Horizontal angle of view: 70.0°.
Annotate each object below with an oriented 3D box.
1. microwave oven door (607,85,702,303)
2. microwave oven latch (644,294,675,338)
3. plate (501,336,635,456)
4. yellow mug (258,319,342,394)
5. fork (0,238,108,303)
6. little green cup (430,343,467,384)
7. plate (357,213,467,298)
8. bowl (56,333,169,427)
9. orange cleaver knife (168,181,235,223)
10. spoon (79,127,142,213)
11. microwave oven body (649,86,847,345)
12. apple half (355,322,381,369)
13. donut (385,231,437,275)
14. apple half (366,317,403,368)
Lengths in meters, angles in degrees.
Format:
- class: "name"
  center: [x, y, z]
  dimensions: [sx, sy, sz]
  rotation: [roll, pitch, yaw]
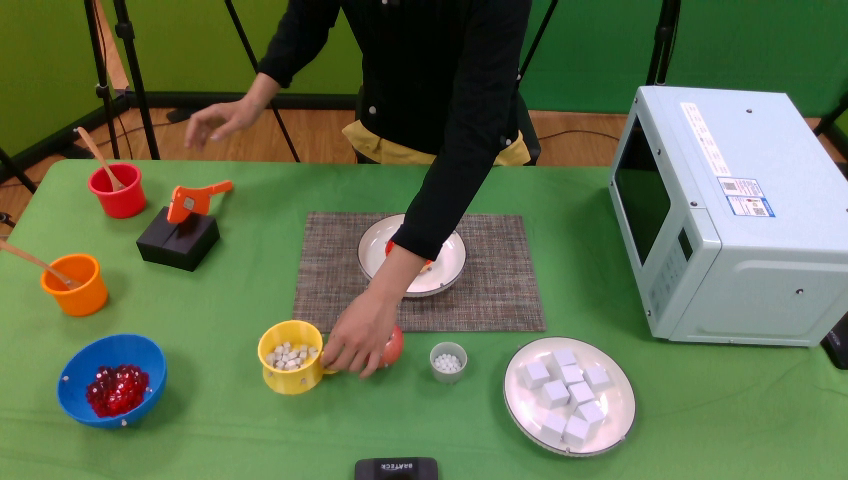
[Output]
- class: "microwave oven door"
  center: [0.423, -0.094, 1.140]
  dimensions: [0.039, 0.245, 0.353]
  rotation: [2, 46, -1]
- class: "microwave oven latch"
  center: [0.411, 0.133, 1.062]
  dimensions: [0.030, 0.029, 0.078]
  rotation: [1, 45, -2]
- class: "plate"
  center: [0.225, 0.248, 0.963]
  dimensions: [0.208, 0.039, 0.206]
  rotation: [2, 46, -2]
- class: "yellow mug"
  center: [-0.195, 0.189, 0.971]
  dimensions: [0.131, 0.064, 0.099]
  rotation: [9, 46, 4]
- class: "fork"
  center: [-0.633, 0.048, 1.017]
  dimensions: [0.208, 0.018, 0.028]
  rotation: [40, 43, -27]
- class: "little green cup"
  center: [0.039, 0.203, 0.993]
  dimensions: [0.061, 0.039, 0.061]
  rotation: [2, 46, -2]
- class: "plate"
  center: [-0.023, 0.032, 1.150]
  dimensions: [0.209, 0.038, 0.208]
  rotation: [2, 46, -2]
- class: "bowl"
  center: [-0.456, 0.223, 0.911]
  dimensions: [0.151, 0.077, 0.150]
  rotation: [3, 46, -2]
- class: "orange cleaver knife"
  center: [-0.436, -0.078, 1.196]
  dimensions: [0.012, 0.077, 0.211]
  rotation: [16, 15, 10]
- class: "spoon"
  center: [-0.624, -0.139, 1.203]
  dimensions: [0.041, 0.021, 0.194]
  rotation: [-33, 100, -26]
- class: "microwave oven body"
  center: [0.568, -0.053, 1.118]
  dimensions: [0.326, 0.261, 0.439]
  rotation: [2, 45, -1]
- class: "apple half"
  center: [-0.096, 0.177, 0.985]
  dimensions: [0.033, 0.081, 0.080]
  rotation: [-10, 48, -19]
- class: "donut"
  center: [-0.025, 0.024, 1.141]
  dimensions: [0.099, 0.048, 0.098]
  rotation: [3, 44, -3]
- class: "apple half"
  center: [-0.061, 0.167, 0.998]
  dimensions: [0.053, 0.075, 0.080]
  rotation: [-12, 44, -20]
